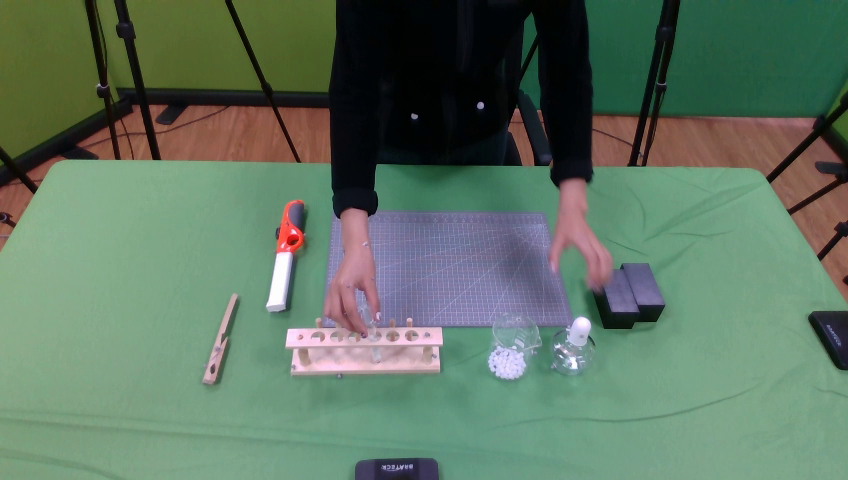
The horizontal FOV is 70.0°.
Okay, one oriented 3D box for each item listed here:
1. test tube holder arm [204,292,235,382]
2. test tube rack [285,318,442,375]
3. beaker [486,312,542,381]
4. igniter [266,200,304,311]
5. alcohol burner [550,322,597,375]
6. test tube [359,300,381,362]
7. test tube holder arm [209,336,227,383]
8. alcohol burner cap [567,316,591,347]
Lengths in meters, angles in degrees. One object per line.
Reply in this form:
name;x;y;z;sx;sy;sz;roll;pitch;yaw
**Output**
test tube holder arm;-0.343;0.159;1.020;0.013;0.015;0.177;27;39;-27
test tube rack;-0.095;0.168;0.986;0.242;0.085;0.066;0;46;-4
beaker;0.144;0.177;0.985;0.084;0.101;0.074;22;49;16
igniter;-0.263;0.020;1.156;0.057;0.025;0.274;-6;46;4
alcohol burner;0.248;0.168;0.991;0.078;0.119;0.077;2;48;-2
test tube;-0.082;0.145;0.939;0.017;0.151;0.017;-3;47;3
test tube holder arm;-0.338;0.193;0.991;0.010;0.015;0.087;28;39;-26
alcohol burner cap;0.249;0.143;0.965;0.034;0.048;0.033;4;40;-3
